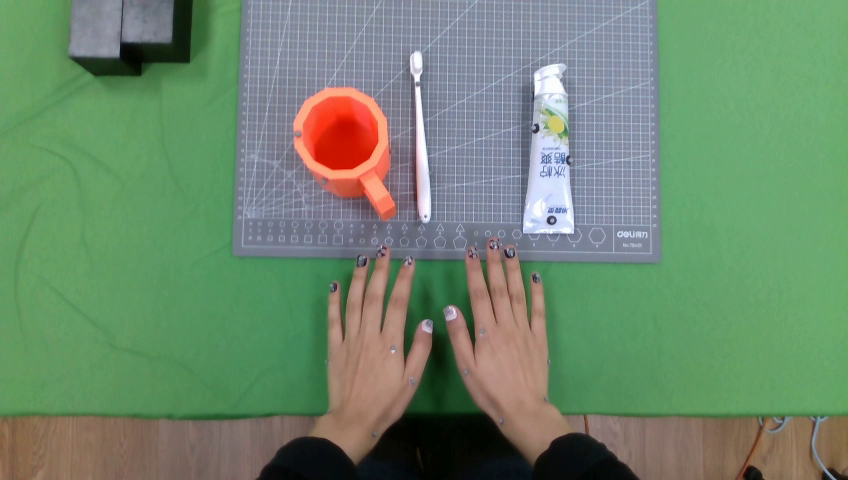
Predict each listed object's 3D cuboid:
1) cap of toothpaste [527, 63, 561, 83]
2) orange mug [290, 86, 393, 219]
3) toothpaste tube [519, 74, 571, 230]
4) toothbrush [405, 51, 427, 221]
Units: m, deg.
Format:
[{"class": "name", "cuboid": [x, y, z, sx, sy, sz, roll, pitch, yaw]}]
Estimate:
[{"class": "cap of toothpaste", "cuboid": [0.127, -0.175, 0.639, 0.037, 0.037, 0.011, -12, 83, -4]}, {"class": "orange mug", "cuboid": [-0.070, -0.079, 0.593, 0.083, 0.101, 0.126, -33, 83, -5]}, {"class": "toothpaste tube", "cuboid": [0.127, -0.093, 0.639, 0.055, 0.034, 0.165, -1, 89, 4]}, {"class": "toothbrush", "cuboid": [-0.007, -0.111, 0.638, 0.014, 0.016, 0.181, -3, 87, -18]}]
